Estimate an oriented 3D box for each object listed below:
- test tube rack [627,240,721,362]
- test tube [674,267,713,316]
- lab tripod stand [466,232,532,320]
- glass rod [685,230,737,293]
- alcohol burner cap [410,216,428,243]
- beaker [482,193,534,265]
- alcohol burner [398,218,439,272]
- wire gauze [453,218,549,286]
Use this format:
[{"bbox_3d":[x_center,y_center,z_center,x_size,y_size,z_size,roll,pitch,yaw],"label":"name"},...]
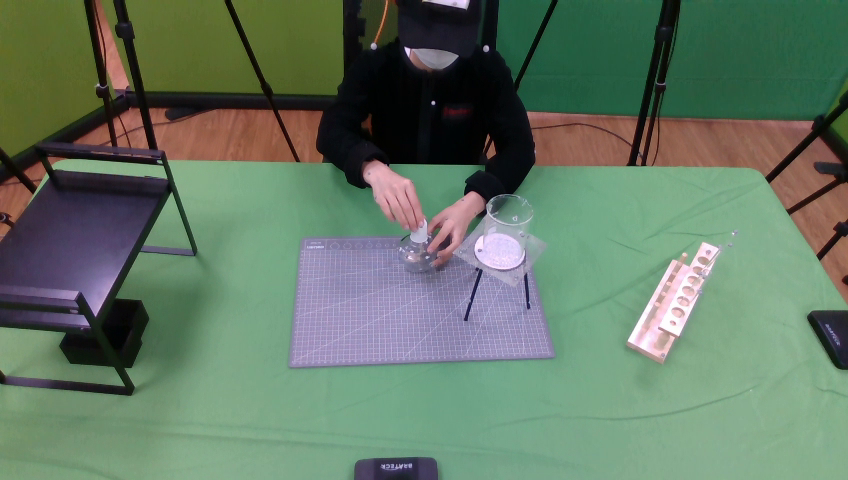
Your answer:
[{"bbox_3d":[0.452,0.098,1.087,0.066,0.085,0.242,28,51,22],"label":"test tube rack"},{"bbox_3d":[0.445,0.098,1.017,0.017,0.151,0.017,4,49,-4],"label":"test tube"},{"bbox_3d":[0.125,0.059,1.065,0.148,0.132,0.147,1,45,0],"label":"lab tripod stand"},{"bbox_3d":[0.495,0.043,1.051,0.008,0.200,0.008,2,55,-2],"label":"glass rod"},{"bbox_3d":[-0.008,-0.022,1.099,0.034,0.048,0.033,2,42,-2],"label":"alcohol burner cap"},{"bbox_3d":[0.135,-0.016,0.979,0.073,0.101,0.084,35,52,28],"label":"beaker"},{"bbox_3d":[-0.010,0.004,1.124,0.078,0.120,0.077,1,48,-1],"label":"alcohol burner"},{"bbox_3d":[0.129,0.014,1.018,0.124,0.011,0.121,26,47,25],"label":"wire gauze"}]
